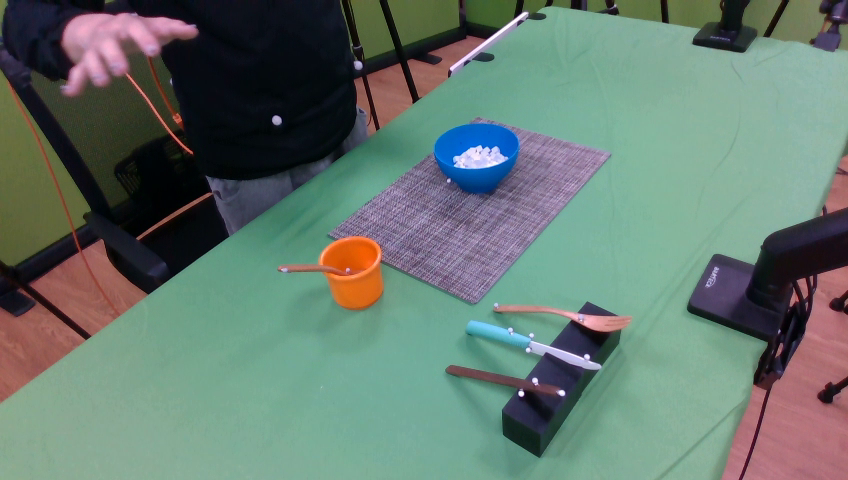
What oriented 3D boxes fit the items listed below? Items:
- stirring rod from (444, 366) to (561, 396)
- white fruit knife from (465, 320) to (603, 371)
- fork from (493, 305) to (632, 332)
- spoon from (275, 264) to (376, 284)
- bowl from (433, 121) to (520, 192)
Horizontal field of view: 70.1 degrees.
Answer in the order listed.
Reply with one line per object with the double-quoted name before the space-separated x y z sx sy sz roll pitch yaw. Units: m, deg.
"stirring rod" 0.088 0.166 0.718 0.175 0.006 0.014 -1 25 48
"white fruit knife" 0.128 0.129 0.750 0.205 0.027 0.016 11 45 44
"fork" 0.171 0.097 0.783 0.205 0.019 0.028 4 40 43
"spoon" -0.133 0.044 0.839 0.041 0.195 0.021 25 95 33
"bowl" 0.094 -0.137 1.064 0.151 0.077 0.150 -4 41 4
